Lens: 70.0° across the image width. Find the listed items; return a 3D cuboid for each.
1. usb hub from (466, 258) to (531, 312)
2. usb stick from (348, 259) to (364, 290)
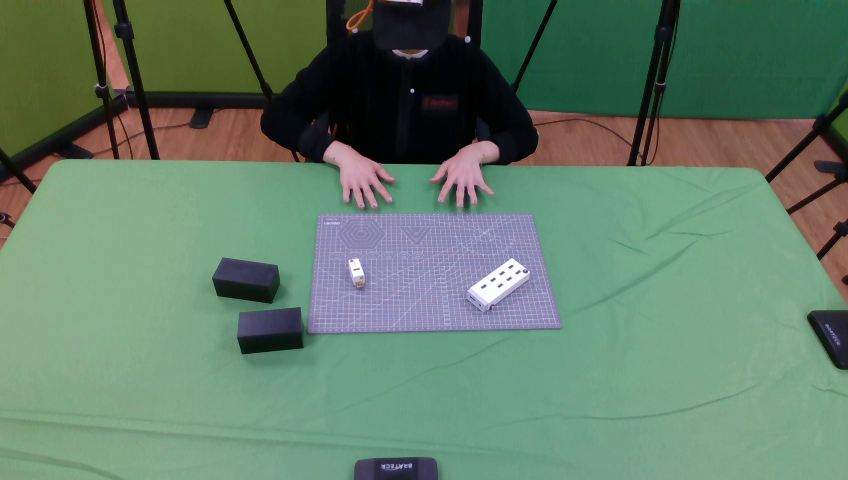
[{"bbox_3d":[0.139,0.083,1.121,0.125,0.025,0.049,-32,56,-29],"label":"usb hub"},{"bbox_3d":[-0.124,0.064,1.120,0.021,0.027,0.059,-9,50,-17],"label":"usb stick"}]
